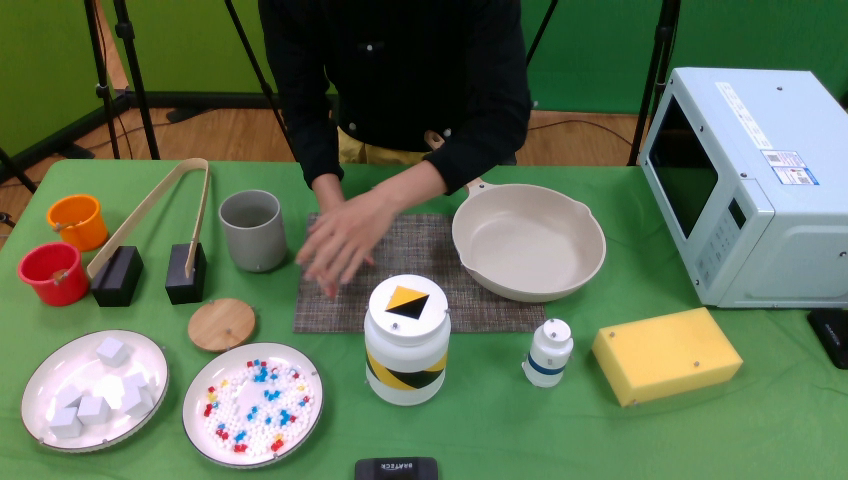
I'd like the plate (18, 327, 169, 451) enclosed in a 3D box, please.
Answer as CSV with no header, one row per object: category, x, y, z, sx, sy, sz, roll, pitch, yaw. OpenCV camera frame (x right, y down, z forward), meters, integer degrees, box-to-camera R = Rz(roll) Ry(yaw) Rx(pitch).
plate,-0.498,0.229,0.929,0.208,0.039,0.206,3,47,-2

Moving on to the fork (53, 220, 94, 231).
fork,-0.627,-0.026,1.086,0.028,0.207,0.018,1,91,-15

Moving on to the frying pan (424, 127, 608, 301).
frying pan,0.143,-0.070,1.209,0.307,0.103,0.485,-23,60,-25

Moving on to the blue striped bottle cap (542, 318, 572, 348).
blue striped bottle cap,0.205,0.143,0.933,0.044,0.021,0.044,0,47,0

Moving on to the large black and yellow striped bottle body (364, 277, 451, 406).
large black and yellow striped bottle body,-0.026,0.155,0.933,0.131,0.185,0.130,2,47,-2

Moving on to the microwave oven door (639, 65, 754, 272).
microwave oven door,0.522,-0.147,1.192,0.039,0.245,0.353,0,47,-3

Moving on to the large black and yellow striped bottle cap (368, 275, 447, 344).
large black and yellow striped bottle cap,-0.024,0.098,0.871,0.115,0.019,0.114,2,45,-2

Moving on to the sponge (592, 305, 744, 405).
sponge,0.405,0.190,1.015,0.207,0.061,0.117,-10,48,-13

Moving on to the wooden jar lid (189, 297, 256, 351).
wooden jar lid,-0.342,0.145,1.033,0.108,0.021,0.107,3,45,-2

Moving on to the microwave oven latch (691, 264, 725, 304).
microwave oven latch,0.521,0.081,1.116,0.030,0.029,0.078,0,46,-3

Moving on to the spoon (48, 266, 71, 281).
spoon,-0.609,0.057,1.010,0.041,0.022,0.193,-33,14,-27

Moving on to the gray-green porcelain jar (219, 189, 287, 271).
gray-green porcelain jar,-0.310,-0.014,1.113,0.106,0.127,0.105,2,46,-2

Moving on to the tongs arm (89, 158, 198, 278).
tongs arm,-0.530,-0.057,1.164,0.028,0.028,0.385,1,36,8

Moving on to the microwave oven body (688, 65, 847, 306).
microwave oven body,0.669,-0.111,1.176,0.326,0.261,0.439,0,46,-3

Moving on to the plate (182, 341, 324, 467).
plate,-0.257,0.250,0.927,0.209,0.038,0.208,3,46,-3

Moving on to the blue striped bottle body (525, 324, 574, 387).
blue striped bottle body,0.202,0.179,0.970,0.063,0.121,0.062,2,46,-2

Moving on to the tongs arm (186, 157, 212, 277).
tongs arm,-0.445,-0.058,1.168,0.051,0.026,0.382,-5,37,-6
